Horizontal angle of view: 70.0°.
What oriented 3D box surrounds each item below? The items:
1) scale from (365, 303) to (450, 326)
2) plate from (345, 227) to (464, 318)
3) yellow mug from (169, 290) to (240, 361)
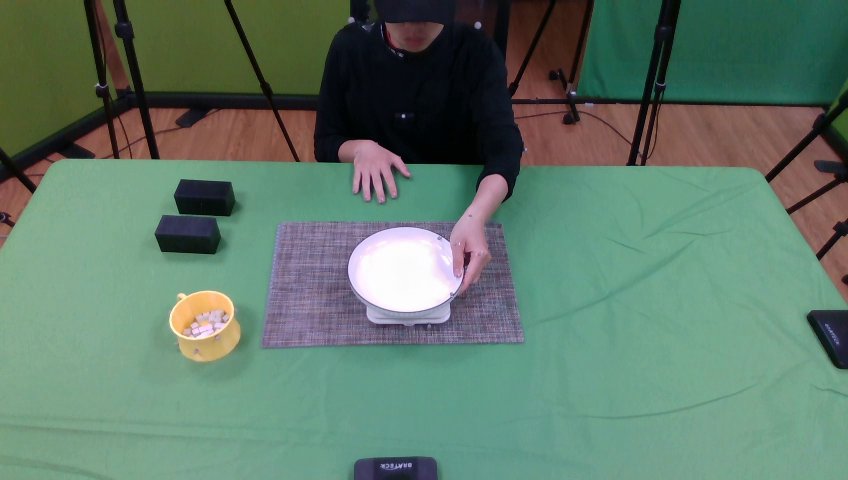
[{"bbox_3d":[-0.032,0.071,1.113,0.149,0.032,0.199,1,46,-4],"label":"scale"},{"bbox_3d":[-0.033,0.059,1.069,0.209,0.038,0.208,2,44,-2],"label":"plate"},{"bbox_3d":[-0.373,0.132,1.009,0.130,0.064,0.100,35,53,27],"label":"yellow mug"}]
